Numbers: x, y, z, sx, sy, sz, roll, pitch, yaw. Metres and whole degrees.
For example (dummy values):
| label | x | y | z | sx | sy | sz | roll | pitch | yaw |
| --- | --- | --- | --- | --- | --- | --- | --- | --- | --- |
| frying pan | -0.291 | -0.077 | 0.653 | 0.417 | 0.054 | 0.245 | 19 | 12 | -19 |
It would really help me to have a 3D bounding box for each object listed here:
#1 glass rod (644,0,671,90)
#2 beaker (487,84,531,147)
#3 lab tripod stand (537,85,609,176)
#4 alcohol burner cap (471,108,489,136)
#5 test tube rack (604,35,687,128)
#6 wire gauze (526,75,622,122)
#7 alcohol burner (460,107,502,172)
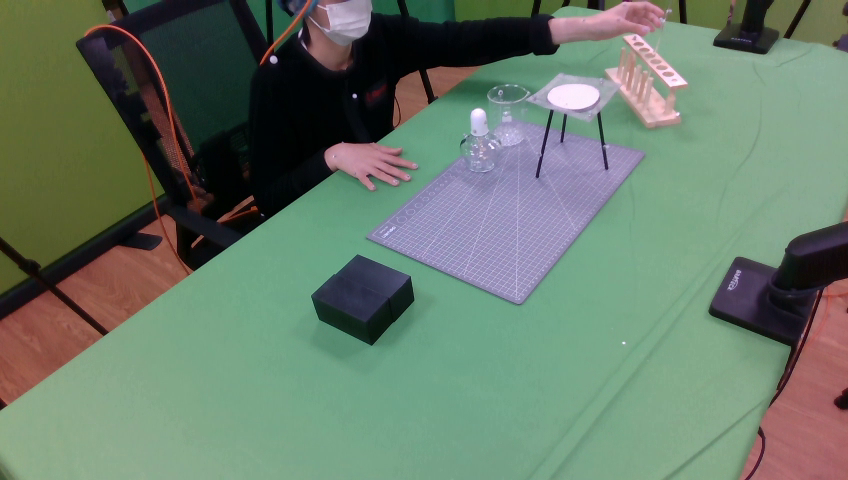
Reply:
| label | x | y | z | sx | sy | sz | roll | pitch | yaw |
| --- | --- | --- | --- | --- | --- | --- | --- | --- | --- |
| glass rod | 0.464 | -0.387 | 1.204 | 0.008 | 0.200 | 0.008 | -1 | 47 | 1 |
| beaker | 0.163 | -0.237 | 1.161 | 0.084 | 0.101 | 0.073 | -9 | 41 | -3 |
| lab tripod stand | 0.259 | -0.192 | 1.068 | 0.148 | 0.132 | 0.147 | -4 | 43 | 4 |
| alcohol burner cap | 0.098 | -0.211 | 1.074 | 0.034 | 0.048 | 0.033 | -6 | 42 | 6 |
| test tube rack | 0.447 | -0.330 | 1.241 | 0.067 | 0.085 | 0.241 | -9 | 41 | -2 |
| wire gauze | 0.255 | -0.248 | 1.030 | 0.124 | 0.011 | 0.122 | 24 | 51 | 32 |
| alcohol burner | 0.102 | -0.185 | 1.098 | 0.078 | 0.119 | 0.077 | -6 | 40 | 5 |
